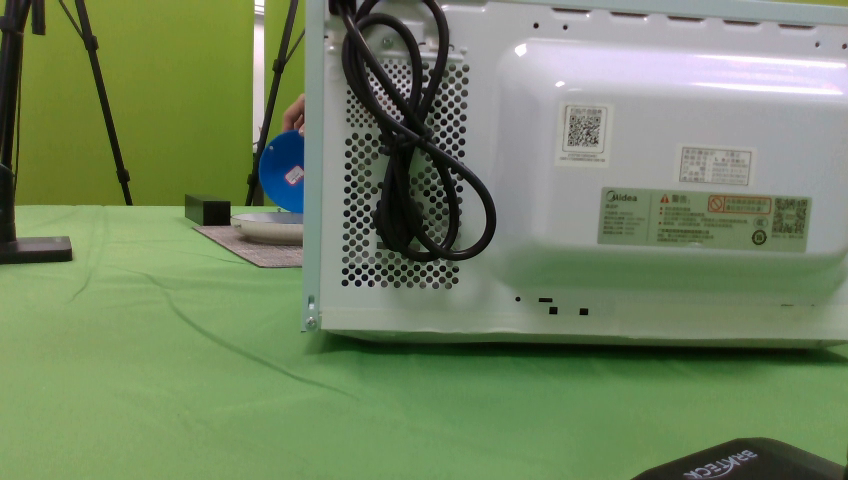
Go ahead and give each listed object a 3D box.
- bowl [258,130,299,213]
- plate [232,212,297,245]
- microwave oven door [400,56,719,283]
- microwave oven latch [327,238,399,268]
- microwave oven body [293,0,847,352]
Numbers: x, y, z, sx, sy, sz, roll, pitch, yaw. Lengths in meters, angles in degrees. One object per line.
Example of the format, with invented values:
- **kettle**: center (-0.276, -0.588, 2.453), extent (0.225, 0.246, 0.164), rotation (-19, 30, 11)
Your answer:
- **bowl**: center (-0.231, -0.122, 1.104), extent (0.152, 0.151, 0.076), rotation (0, 2, -23)
- **plate**: center (-0.214, -0.019, 1.018), extent (0.208, 0.039, 0.207), rotation (2, 7, 0)
- **microwave oven door**: center (0.155, -0.077, 0.698), extent (0.356, 0.243, 0.039), rotation (2, 8, -5)
- **microwave oven latch**: center (-0.069, 0.015, 0.694), extent (0.079, 0.029, 0.030), rotation (3, 7, -3)
- **microwave oven body**: center (0.122, -0.055, 0.550), extent (0.442, 0.260, 0.325), rotation (3, 7, -5)
